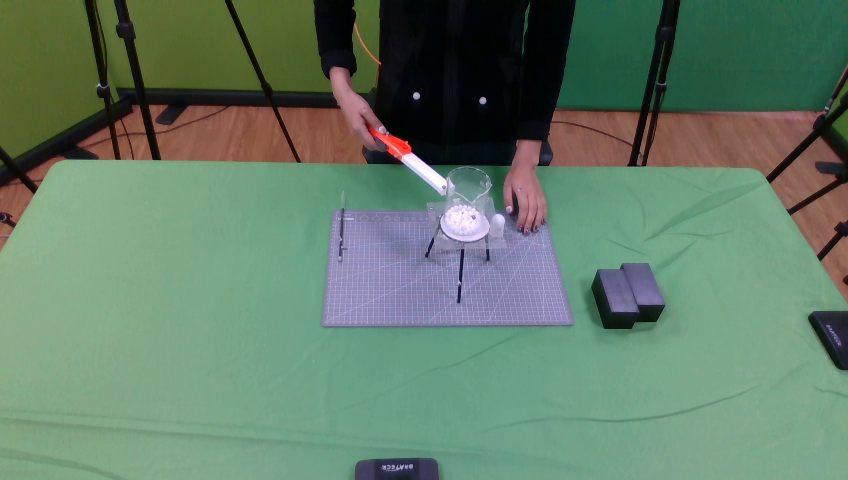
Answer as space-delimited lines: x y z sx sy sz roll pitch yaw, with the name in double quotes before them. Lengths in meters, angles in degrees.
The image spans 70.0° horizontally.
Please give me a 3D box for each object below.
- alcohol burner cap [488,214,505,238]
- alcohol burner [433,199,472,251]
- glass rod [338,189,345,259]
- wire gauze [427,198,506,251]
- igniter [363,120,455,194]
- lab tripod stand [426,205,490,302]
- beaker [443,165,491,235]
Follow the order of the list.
"alcohol burner cap" 0.148 -0.032 1.222 0.034 0.048 0.033 2 46 -2
"alcohol burner" 0.056 -0.036 1.170 0.078 0.119 0.077 3 48 -3
"glass rod" -0.166 -0.036 1.227 0.008 0.008 0.198 -1 46 -4
"wire gauze" 0.072 -0.028 1.056 0.125 0.011 0.120 -1 49 -8
"igniter" -0.038 -0.172 1.213 0.057 0.025 0.275 -21 48 -35
"lab tripod stand" 0.069 0.017 1.106 0.148 0.132 0.147 3 47 -3
"beaker" 0.070 -0.062 1.023 0.074 0.101 0.083 -2 48 -6
